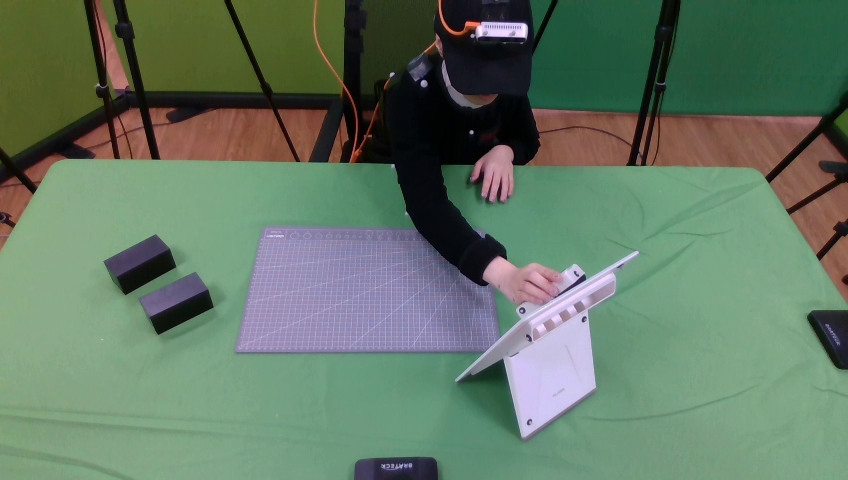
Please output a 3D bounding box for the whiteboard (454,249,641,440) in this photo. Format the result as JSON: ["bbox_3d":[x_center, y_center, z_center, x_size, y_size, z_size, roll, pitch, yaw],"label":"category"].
[{"bbox_3d":[0.206,0.175,0.890,0.217,0.306,0.143,-24,72,-25],"label":"whiteboard"}]

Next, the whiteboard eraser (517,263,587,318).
[{"bbox_3d":[0.197,0.084,0.924,0.042,0.113,0.055,51,33,7],"label":"whiteboard eraser"}]
